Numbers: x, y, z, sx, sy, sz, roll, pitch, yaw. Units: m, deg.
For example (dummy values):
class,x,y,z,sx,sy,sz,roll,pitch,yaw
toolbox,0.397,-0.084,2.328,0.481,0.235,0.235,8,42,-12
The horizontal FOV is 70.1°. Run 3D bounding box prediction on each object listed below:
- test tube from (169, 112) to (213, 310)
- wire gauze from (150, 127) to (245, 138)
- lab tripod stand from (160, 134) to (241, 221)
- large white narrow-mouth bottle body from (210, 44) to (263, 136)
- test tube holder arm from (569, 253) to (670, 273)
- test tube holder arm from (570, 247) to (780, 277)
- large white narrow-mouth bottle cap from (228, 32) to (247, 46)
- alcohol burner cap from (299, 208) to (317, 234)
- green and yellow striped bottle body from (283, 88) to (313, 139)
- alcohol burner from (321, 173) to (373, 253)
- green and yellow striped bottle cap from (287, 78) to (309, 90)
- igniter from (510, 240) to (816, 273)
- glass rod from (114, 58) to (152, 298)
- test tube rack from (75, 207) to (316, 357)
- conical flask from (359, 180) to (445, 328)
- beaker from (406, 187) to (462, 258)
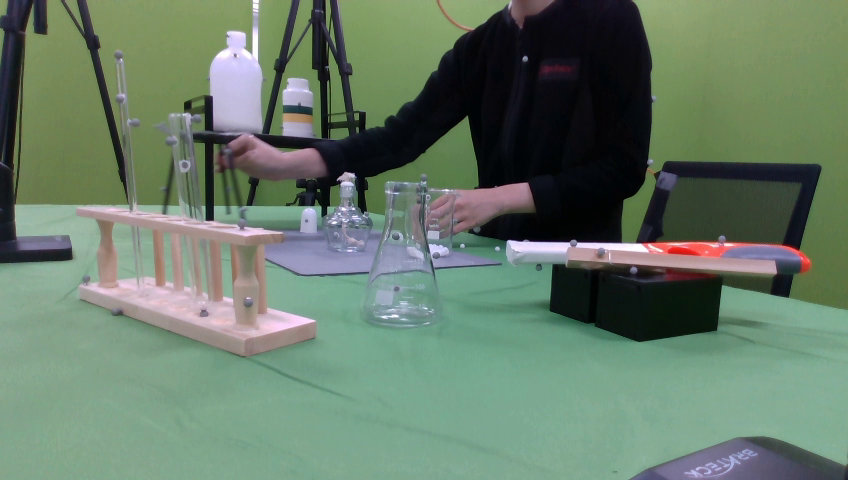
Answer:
class,x,y,z,sx,sy,sz,roll,pitch,yaw
test tube,-0.175,-0.020,0.455,0.017,0.150,0.017,-3,9,1
wire gauze,-0.344,-0.164,0.938,0.125,0.011,0.121,0,6,-6
lab tripod stand,-0.337,-0.097,0.942,0.148,0.131,0.148,-1,6,0
large white narrow-mouth bottle body,-0.369,-0.305,1.194,0.102,0.194,0.102,3,8,0
test tube holder arm,0.172,0.019,0.532,0.088,0.015,0.010,3,-23,3
test tube holder arm,0.217,0.019,0.525,0.178,0.015,0.013,3,-23,3
large white narrow-mouth bottle cap,-0.364,-0.391,1.180,0.038,0.024,0.037,3,8,0
alcohol burner cap,-0.213,-0.035,1.110,0.034,0.048,0.034,3,7,0
green and yellow striped bottle body,-0.266,-0.275,1.275,0.063,0.119,0.063,3,7,0
alcohol burner,-0.115,-0.041,0.905,0.078,0.119,0.078,1,6,0
green and yellow striped bottle cap,-0.265,-0.326,1.268,0.045,0.020,0.045,4,6,0
igniter,0.220,0.015,0.565,0.277,0.025,0.057,2,17,0
glass rod,-0.236,-0.044,0.492,0.008,0.199,0.008,0,15,0
test tube rack,-0.196,0.023,0.500,0.241,0.085,0.067,8,9,36
conical flask,-0.017,0.010,0.522,0.075,0.122,0.075,2,7,0
beaker,0.013,-0.026,0.893,0.084,0.100,0.074,3,8,-2
